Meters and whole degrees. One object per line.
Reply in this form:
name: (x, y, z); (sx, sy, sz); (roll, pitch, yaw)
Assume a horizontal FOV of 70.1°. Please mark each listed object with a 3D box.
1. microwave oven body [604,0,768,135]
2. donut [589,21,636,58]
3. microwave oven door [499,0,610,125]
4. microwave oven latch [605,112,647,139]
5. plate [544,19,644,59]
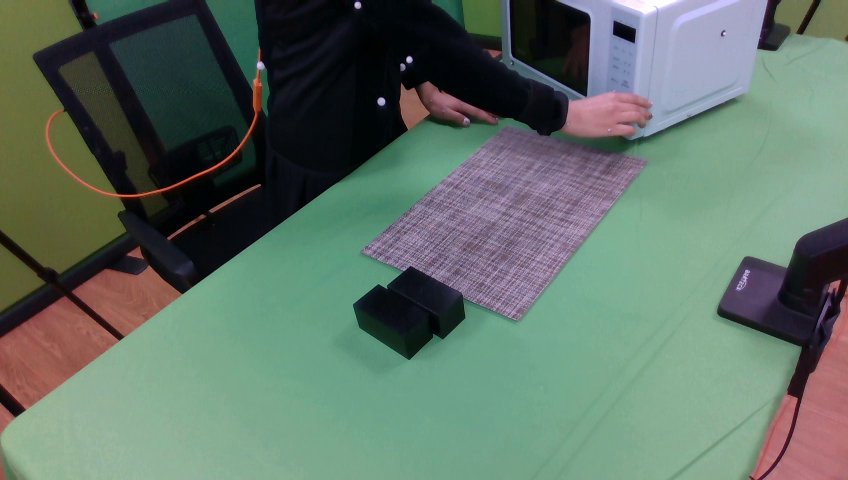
microwave oven body: (0.411, -0.441, 1.235); (0.327, 0.261, 0.437); (-25, 42, -16)
donut: (0.403, -0.429, 1.295); (0.099, 0.048, 0.098); (1, 54, -1)
microwave oven door: (0.261, -0.410, 1.219); (0.039, 0.245, 0.352); (-24, 42, -17)
microwave oven latch: (0.375, -0.217, 1.130); (0.030, 0.029, 0.078); (-25, 42, -16)
plate: (0.359, -0.427, 1.291); (0.209, 0.038, 0.208); (1, 34, 0)
